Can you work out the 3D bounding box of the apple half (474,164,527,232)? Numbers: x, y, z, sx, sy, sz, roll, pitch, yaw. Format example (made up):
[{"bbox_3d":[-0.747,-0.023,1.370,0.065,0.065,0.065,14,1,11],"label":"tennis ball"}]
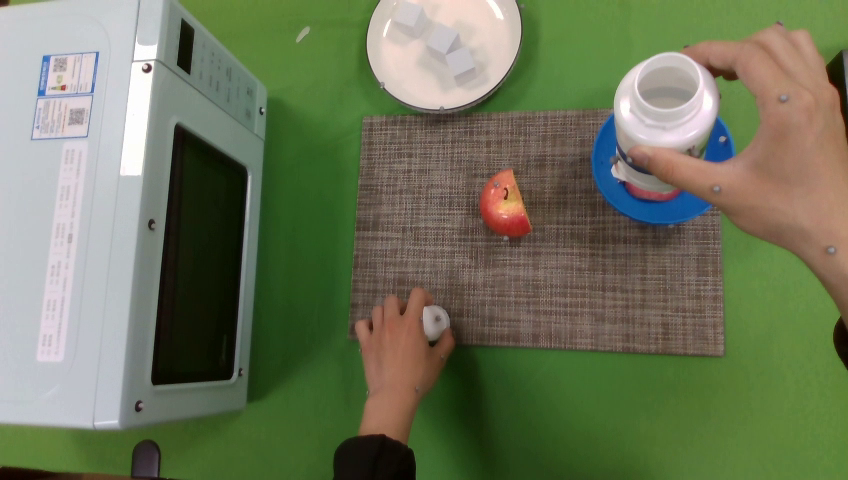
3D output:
[{"bbox_3d":[0.088,-0.045,0.731,0.053,0.075,0.080,-19,81,11],"label":"apple half"}]

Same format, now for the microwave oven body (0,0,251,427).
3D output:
[{"bbox_3d":[-0.406,-0.021,0.724,0.325,0.261,0.440,-1,81,10],"label":"microwave oven body"}]

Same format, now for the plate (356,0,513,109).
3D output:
[{"bbox_3d":[0.014,-0.269,0.804,0.207,0.039,0.207,-2,81,10],"label":"plate"}]

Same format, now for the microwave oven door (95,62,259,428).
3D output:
[{"bbox_3d":[-0.264,0.016,0.686,0.039,0.245,0.354,-2,80,11],"label":"microwave oven door"}]

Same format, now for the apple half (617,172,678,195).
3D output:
[{"bbox_3d":[0.262,-0.090,0.697,0.081,0.033,0.081,-2,79,11],"label":"apple half"}]

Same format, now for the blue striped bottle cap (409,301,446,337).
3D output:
[{"bbox_3d":[0.004,0.098,0.749,0.044,0.021,0.044,0,88,15],"label":"blue striped bottle cap"}]

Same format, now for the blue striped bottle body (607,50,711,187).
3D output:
[{"bbox_3d":[0.158,-0.082,0.413,0.063,0.122,0.063,-4,77,18],"label":"blue striped bottle body"}]

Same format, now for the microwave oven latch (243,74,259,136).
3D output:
[{"bbox_3d":[-0.240,-0.181,0.819,0.030,0.029,0.079,-1,81,10],"label":"microwave oven latch"}]

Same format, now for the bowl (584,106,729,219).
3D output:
[{"bbox_3d":[0.261,-0.091,0.702,0.151,0.077,0.151,-2,80,11],"label":"bowl"}]
